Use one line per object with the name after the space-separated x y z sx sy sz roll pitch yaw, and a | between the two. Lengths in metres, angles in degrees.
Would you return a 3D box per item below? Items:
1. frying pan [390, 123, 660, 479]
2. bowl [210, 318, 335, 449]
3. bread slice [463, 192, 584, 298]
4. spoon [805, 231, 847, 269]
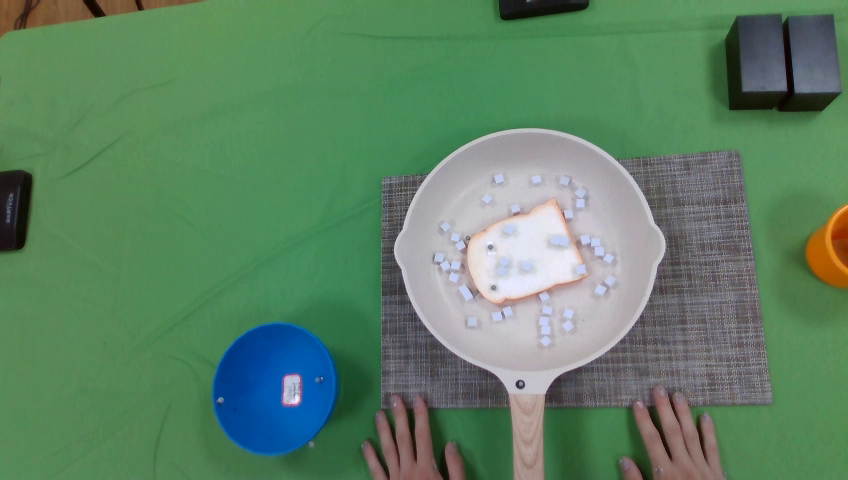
0.110 0.104 0.687 0.306 0.103 0.484 -1 69 10 | frying pan
-0.172 0.172 0.737 0.151 0.077 0.150 -2 78 9 | bowl
0.116 0.015 0.747 0.134 0.018 0.106 -23 75 1 | bread slice
0.501 -0.008 0.627 0.022 0.193 0.041 -3 76 -36 | spoon
